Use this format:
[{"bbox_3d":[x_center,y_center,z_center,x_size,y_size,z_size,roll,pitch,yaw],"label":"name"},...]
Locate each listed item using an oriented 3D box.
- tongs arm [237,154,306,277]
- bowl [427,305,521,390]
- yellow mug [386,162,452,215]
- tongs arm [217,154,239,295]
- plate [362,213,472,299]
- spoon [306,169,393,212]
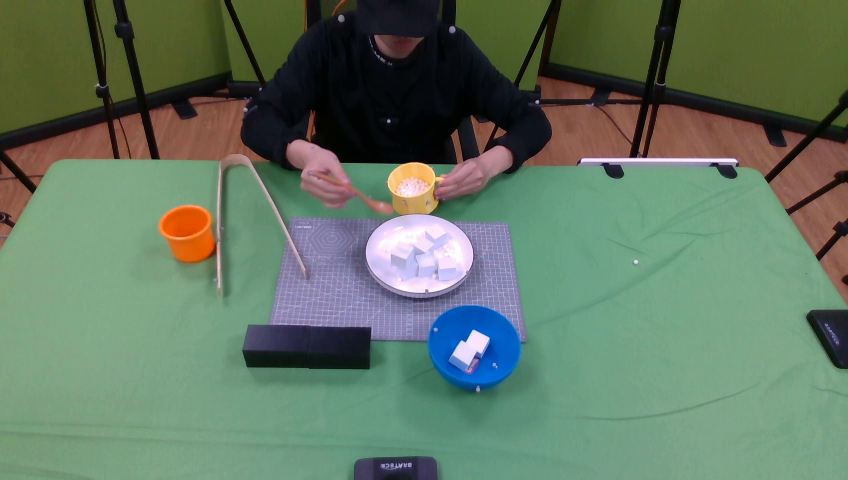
[{"bbox_3d":[-0.309,-0.060,1.221,0.028,0.028,0.385,-23,50,-17],"label":"tongs arm"},{"bbox_3d":[0.076,0.188,0.985,0.151,0.077,0.150,3,46,-3],"label":"bowl"},{"bbox_3d":[-0.008,-0.106,1.253,0.131,0.064,0.099,-6,51,4],"label":"yellow mug"},{"bbox_3d":[-0.386,-0.044,1.200,0.051,0.026,0.382,-10,46,-10],"label":"tongs arm"},{"bbox_3d":[-0.013,0.034,1.150,0.208,0.039,0.206,2,46,-2],"label":"plate"},{"bbox_3d":[-0.130,-0.089,1.085,0.195,0.021,0.041,28,18,-41],"label":"spoon"}]
